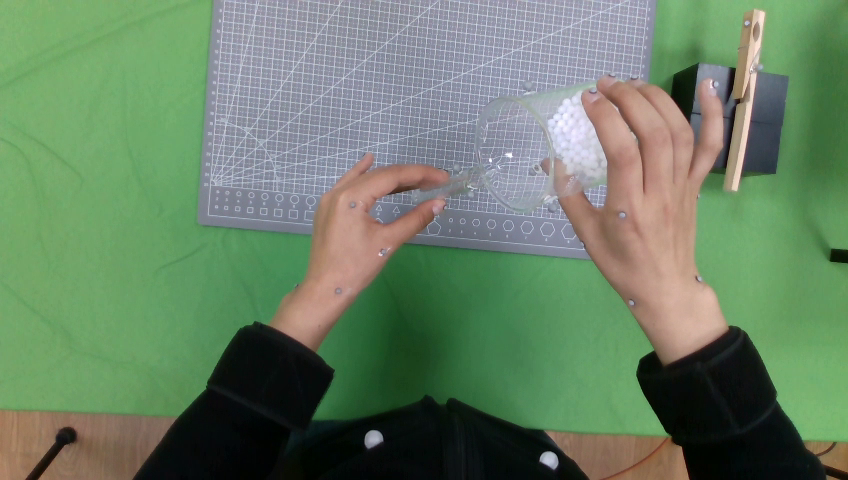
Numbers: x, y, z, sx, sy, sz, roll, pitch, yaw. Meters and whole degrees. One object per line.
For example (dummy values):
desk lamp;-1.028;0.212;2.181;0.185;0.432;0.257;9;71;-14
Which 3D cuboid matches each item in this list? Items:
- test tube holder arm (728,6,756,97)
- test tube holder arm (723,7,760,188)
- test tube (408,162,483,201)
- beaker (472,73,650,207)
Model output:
test tube holder arm;0.316;-0.187;0.603;0.010;0.015;0.088;4;94;-14
test tube holder arm;0.318;-0.141;0.607;0.013;0.015;0.178;3;94;-14
test tube;0.013;-0.045;0.488;0.017;0.149;0.017;0;89;-17
beaker;0.092;-0.069;0.404;0.100;0.084;0.074;-18;87;-29
